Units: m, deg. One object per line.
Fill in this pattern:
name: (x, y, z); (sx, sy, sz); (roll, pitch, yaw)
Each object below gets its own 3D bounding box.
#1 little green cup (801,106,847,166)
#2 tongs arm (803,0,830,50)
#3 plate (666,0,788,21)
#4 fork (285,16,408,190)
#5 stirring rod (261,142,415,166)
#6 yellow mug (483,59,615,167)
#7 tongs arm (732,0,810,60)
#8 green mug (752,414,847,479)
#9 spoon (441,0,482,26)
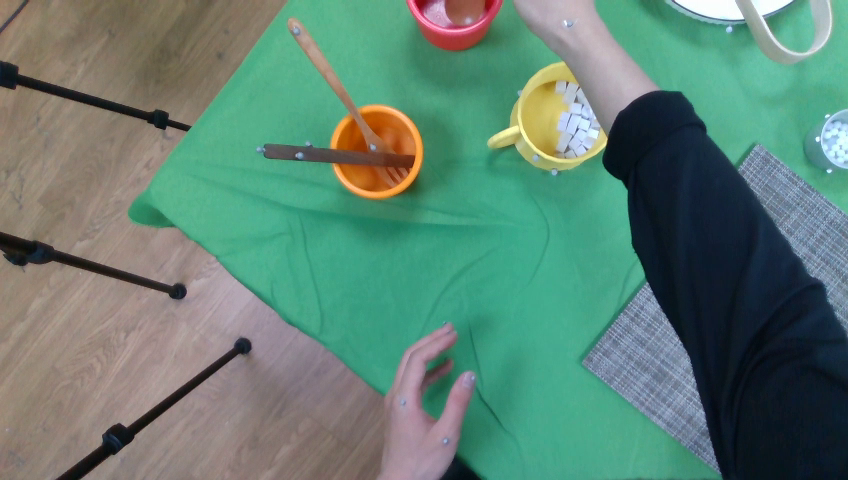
little green cup: (0.430, -0.106, 0.633); (0.061, 0.038, 0.061); (0, 91, 2)
tongs arm: (0.357, -0.377, 0.602); (0.028, 0.028, 0.387); (-9, 88, -5)
plate: (0.315, -0.330, 0.634); (0.207, 0.039, 0.207); (0, 91, 2)
fork: (-0.071, -0.126, 0.588); (0.028, 0.018, 0.210); (-36, 133, -1)
stirring rod: (-0.077, -0.084, 0.595); (0.177, 0.006, 0.014); (-2, 92, -41)
yellow mug: (0.124, -0.123, 0.626); (0.131, 0.064, 0.100); (-19, 91, 3)
tongs arm: (0.278, -0.352, 0.602); (0.051, 0.026, 0.384); (-23, 88, -2)
green mug: (0.406, 0.219, 0.601); (0.125, 0.105, 0.092); (-35, 89, 1)
spoon: (0.050, -0.262, 0.550); (0.042, 0.194, 0.021); (18, 72, -4)
